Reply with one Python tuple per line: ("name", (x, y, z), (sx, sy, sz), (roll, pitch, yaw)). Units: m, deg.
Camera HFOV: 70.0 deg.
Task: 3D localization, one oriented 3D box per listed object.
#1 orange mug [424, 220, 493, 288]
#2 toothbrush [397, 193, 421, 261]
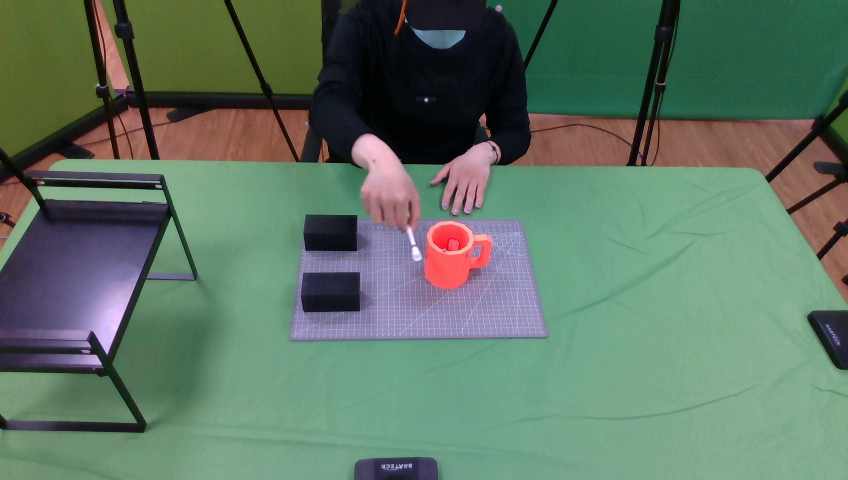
("orange mug", (0.064, 0.023, 1.119), (0.126, 0.101, 0.083), (-9, 47, -7))
("toothbrush", (-0.029, -0.028, 1.068), (0.014, 0.017, 0.180), (-18, 42, 1))
